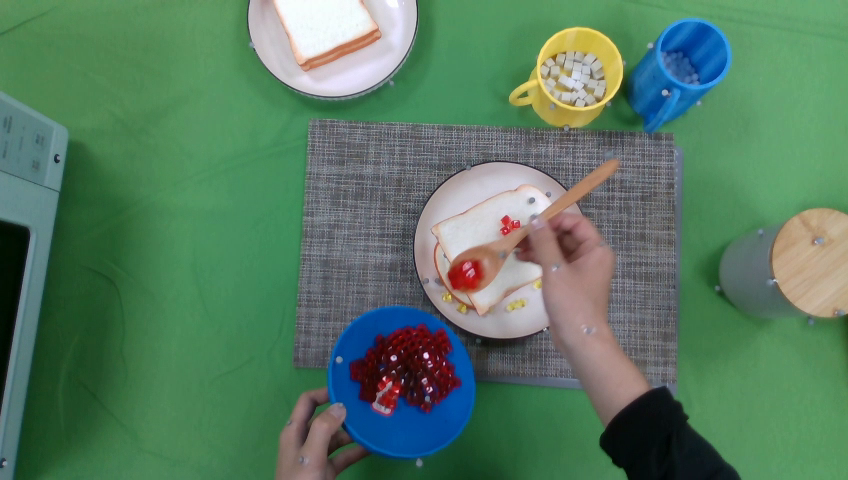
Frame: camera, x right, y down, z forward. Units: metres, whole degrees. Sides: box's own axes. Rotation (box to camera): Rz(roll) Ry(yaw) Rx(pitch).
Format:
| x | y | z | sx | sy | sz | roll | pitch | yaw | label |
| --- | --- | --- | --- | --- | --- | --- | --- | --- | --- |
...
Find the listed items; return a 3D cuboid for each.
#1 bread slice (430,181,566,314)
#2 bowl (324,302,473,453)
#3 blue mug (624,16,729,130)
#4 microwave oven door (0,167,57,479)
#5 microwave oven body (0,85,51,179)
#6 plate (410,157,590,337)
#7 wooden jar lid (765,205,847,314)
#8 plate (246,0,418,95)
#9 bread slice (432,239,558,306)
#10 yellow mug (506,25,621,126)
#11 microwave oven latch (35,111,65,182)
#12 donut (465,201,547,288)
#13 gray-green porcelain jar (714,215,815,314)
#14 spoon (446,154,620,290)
| x | y | z | sx | sy | sz | roll | pitch | yaw | label |
| --- | --- | --- | --- | --- | --- | --- | --- | --- | --- |
| 0.084 | -0.002 | 0.651 | 0.134 | 0.018 | 0.107 | -32 | 91 | -10 | bread slice |
| -0.034 | 0.147 | 0.615 | 0.152 | 0.077 | 0.150 | 12 | 58 | -18 | bowl |
| 0.282 | -0.182 | 0.702 | 0.082 | 0.106 | 0.116 | 24 | 84 | 4 | blue mug |
| -0.467 | 0.094 | 0.581 | 0.039 | 0.244 | 0.354 | 5 | 83 | 1 | microwave oven door |
| -0.608 | 0.039 | 0.593 | 0.326 | 0.260 | 0.440 | 5 | 84 | 0 | microwave oven body |
| 0.087 | 0.008 | 0.709 | 0.209 | 0.038 | 0.208 | 0 | 83 | 0 | plate |
| 0.391 | 0.020 | 0.603 | 0.108 | 0.021 | 0.108 | 0 | 86 | -2 | wooden jar lid |
| -0.111 | -0.276 | 0.747 | 0.208 | 0.039 | 0.207 | 0 | 83 | 0 | plate |
| 0.078 | 0.017 | 0.710 | 0.131 | 0.019 | 0.104 | -29 | 83 | -4 | bread slice |
| 0.161 | -0.190 | 0.722 | 0.131 | 0.064 | 0.099 | -17 | 83 | -1 | yellow mug |
| -0.444 | -0.109 | 0.707 | 0.030 | 0.029 | 0.079 | 8 | 84 | 1 | microwave oven latch |
| 0.093 | 0.005 | 0.681 | 0.099 | 0.048 | 0.099 | 2 | 83 | -17 | donut |
| 0.392 | 0.029 | 0.665 | 0.106 | 0.127 | 0.105 | 0 | 83 | 0 | gray-green porcelain jar |
| 0.102 | -0.018 | 0.563 | 0.194 | 0.022 | 0.041 | -36 | 85 | 8 | spoon |
